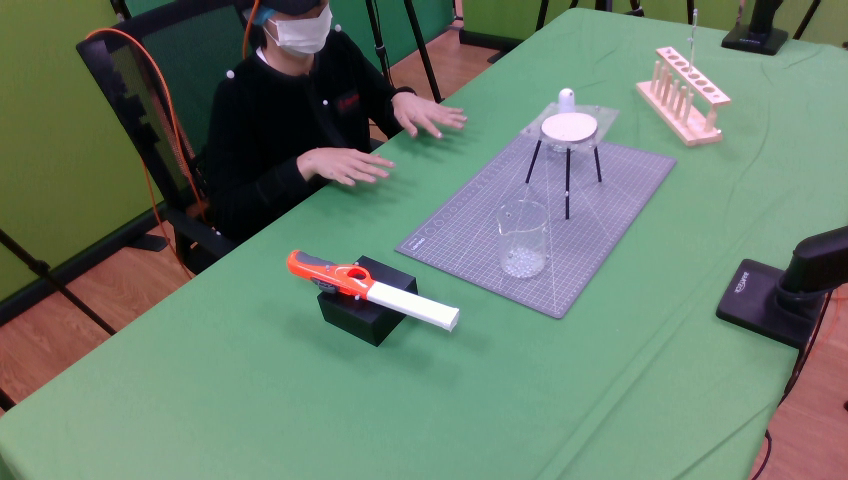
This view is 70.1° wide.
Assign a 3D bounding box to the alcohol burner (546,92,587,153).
[{"bbox_3d":[0.263,-0.222,1.124,0.078,0.119,0.077,-5,42,5],"label":"alcohol burner"}]

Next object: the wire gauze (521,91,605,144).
[{"bbox_3d":[0.219,-0.191,0.948,0.121,0.011,0.125,8,49,13],"label":"wire gauze"}]

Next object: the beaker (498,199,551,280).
[{"bbox_3d":[0.144,0.003,0.884,0.073,0.101,0.084,28,52,36],"label":"beaker"}]

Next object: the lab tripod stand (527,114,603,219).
[{"bbox_3d":[0.235,-0.129,1.002,0.148,0.132,0.147,-6,40,6],"label":"lab tripod stand"}]

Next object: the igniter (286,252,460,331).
[{"bbox_3d":[-0.080,0.067,0.832,0.275,0.025,0.057,17,46,22],"label":"igniter"}]

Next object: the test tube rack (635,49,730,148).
[{"bbox_3d":[0.497,-0.283,1.184,0.067,0.085,0.240,-10,40,-2],"label":"test tube rack"}]

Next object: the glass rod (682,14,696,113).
[{"bbox_3d":[0.495,-0.326,1.132,0.008,0.201,0.008,-8,42,8],"label":"glass rod"}]

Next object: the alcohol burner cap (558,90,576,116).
[{"bbox_3d":[0.260,-0.250,1.102,0.034,0.048,0.033,-7,37,5],"label":"alcohol burner cap"}]
